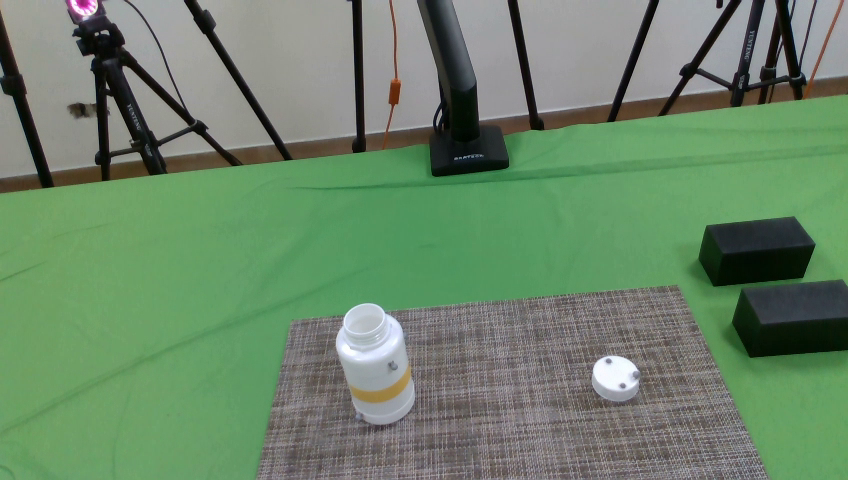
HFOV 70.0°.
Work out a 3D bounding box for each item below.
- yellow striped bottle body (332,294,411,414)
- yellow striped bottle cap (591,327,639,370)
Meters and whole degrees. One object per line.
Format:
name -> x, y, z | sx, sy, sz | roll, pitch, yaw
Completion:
yellow striped bottle body -> -0.050, 0.106, 0.577 | 0.063, 0.121, 0.062 | -5, 40, 5
yellow striped bottle cap -> 0.184, 0.105, 0.586 | 0.044, 0.019, 0.044 | -8, 31, 5
